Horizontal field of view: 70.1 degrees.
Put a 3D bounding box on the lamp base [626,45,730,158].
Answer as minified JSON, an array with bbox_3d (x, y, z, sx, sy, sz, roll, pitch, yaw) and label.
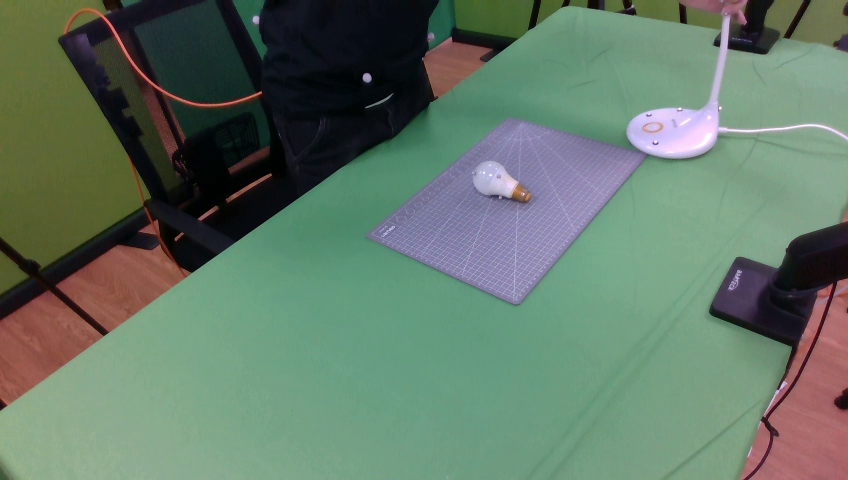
[{"bbox_3d":[0.468,-0.261,1.085,0.179,0.181,0.159,-5,41,-1],"label":"lamp base"}]

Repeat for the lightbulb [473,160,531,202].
[{"bbox_3d":[0.135,-0.097,1.038,0.107,0.059,0.059,29,50,15],"label":"lightbulb"}]
